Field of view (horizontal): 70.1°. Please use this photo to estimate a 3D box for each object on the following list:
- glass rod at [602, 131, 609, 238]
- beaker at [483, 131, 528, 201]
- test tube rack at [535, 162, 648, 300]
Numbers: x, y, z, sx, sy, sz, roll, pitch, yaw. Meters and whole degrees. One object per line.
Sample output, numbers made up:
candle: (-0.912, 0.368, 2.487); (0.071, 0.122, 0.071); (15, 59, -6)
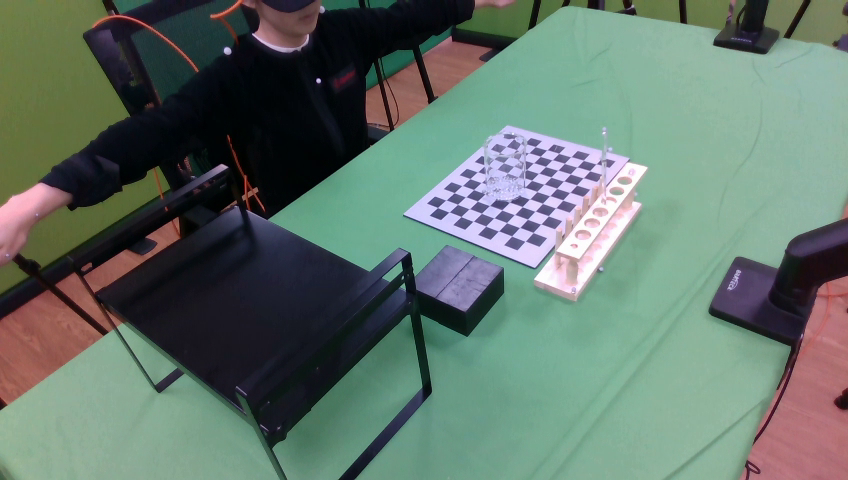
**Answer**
glass rod: (0.263, -0.074, 0.872); (0.008, 0.201, 0.008); (-9, 44, 9)
beaker: (0.143, -0.126, 1.035); (0.073, 0.101, 0.084); (24, 49, 32)
test tube rack: (0.257, -0.024, 0.916); (0.066, 0.085, 0.243); (22, 49, 30)
